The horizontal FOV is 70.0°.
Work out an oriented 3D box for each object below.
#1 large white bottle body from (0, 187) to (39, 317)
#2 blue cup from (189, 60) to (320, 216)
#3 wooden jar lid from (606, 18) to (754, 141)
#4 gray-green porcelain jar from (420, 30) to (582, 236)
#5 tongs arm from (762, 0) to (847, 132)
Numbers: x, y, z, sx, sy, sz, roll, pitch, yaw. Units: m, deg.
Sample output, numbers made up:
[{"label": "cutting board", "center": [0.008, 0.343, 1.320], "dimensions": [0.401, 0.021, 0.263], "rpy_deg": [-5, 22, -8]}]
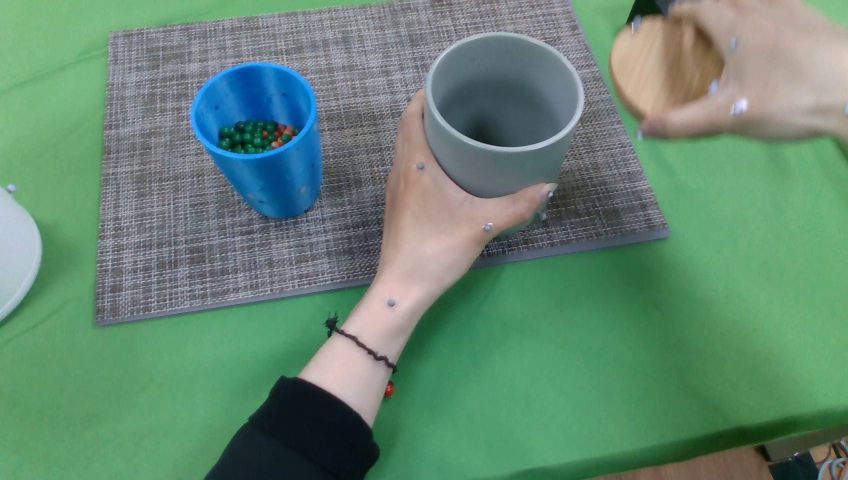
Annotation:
[{"label": "large white bottle body", "center": [-0.352, -0.021, 0.376], "dimensions": [0.131, 0.186, 0.129], "rpy_deg": [1, 62, -2]}, {"label": "blue cup", "center": [-0.117, -0.067, 0.457], "dimensions": [0.093, 0.101, 0.092], "rpy_deg": [1, 63, -1]}, {"label": "wooden jar lid", "center": [0.181, -0.114, 0.435], "dimensions": [0.108, 0.021, 0.107], "rpy_deg": [4, 62, -7]}, {"label": "gray-green porcelain jar", "center": [0.050, -0.071, 0.452], "dimensions": [0.106, 0.127, 0.105], "rpy_deg": [1, 61, -1]}, {"label": "tongs arm", "center": [0.404, -0.109, 0.545], "dimensions": [0.051, 0.027, 0.381], "rpy_deg": [-5, 62, -13]}]
